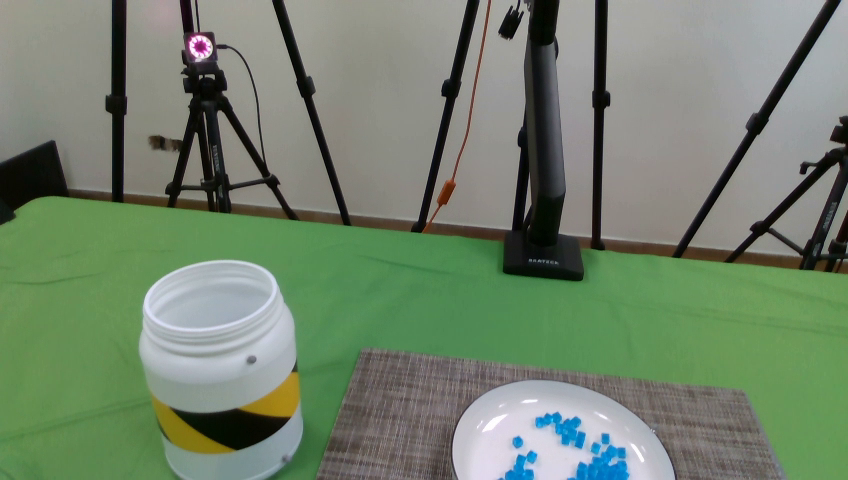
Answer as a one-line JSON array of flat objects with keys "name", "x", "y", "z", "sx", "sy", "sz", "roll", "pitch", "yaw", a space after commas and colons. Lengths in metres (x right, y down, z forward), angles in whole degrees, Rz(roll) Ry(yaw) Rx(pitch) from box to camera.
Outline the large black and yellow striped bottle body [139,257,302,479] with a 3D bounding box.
[{"name": "large black and yellow striped bottle body", "x": -0.185, "y": 0.121, "z": 0.564, "sx": 0.131, "sy": 0.185, "sz": 0.129, "roll": 2, "pitch": 31, "yaw": -1}]

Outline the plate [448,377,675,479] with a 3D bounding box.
[{"name": "plate", "x": 0.125, "y": 0.214, "z": 0.569, "sx": 0.208, "sy": 0.039, "sz": 0.206, "roll": 2, "pitch": 30, "yaw": -1}]

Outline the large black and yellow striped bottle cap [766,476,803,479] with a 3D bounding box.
[{"name": "large black and yellow striped bottle cap", "x": 0.342, "y": 0.260, "z": 0.530, "sx": 0.115, "sy": 0.019, "sz": 0.114, "roll": 5, "pitch": 32, "yaw": -3}]
